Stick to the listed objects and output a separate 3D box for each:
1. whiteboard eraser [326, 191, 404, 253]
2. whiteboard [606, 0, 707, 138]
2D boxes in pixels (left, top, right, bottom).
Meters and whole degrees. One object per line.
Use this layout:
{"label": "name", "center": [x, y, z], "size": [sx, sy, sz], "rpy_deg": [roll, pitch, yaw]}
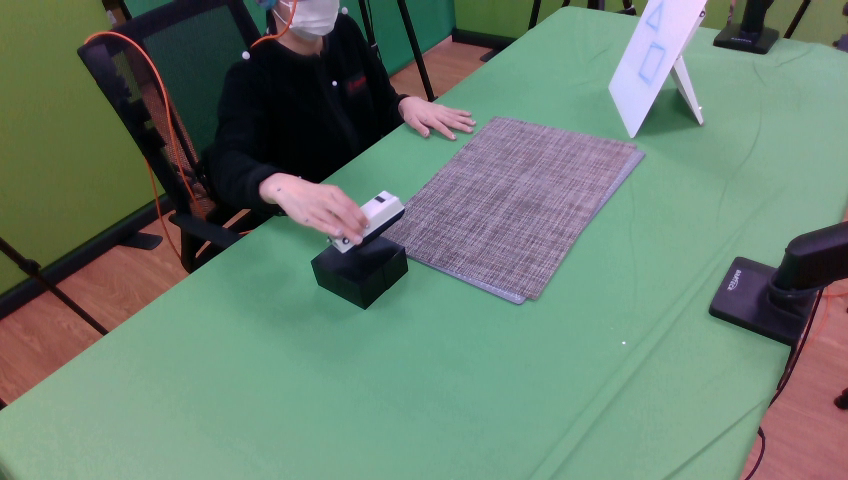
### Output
{"label": "whiteboard eraser", "center": [-0.084, -0.024, 0.876], "size": [0.113, 0.042, 0.055], "rpy_deg": [-37, 32, -13]}
{"label": "whiteboard", "center": [0.496, -0.359, 1.147], "size": [0.144, 0.305, 0.216], "rpy_deg": [11, 40, -7]}
